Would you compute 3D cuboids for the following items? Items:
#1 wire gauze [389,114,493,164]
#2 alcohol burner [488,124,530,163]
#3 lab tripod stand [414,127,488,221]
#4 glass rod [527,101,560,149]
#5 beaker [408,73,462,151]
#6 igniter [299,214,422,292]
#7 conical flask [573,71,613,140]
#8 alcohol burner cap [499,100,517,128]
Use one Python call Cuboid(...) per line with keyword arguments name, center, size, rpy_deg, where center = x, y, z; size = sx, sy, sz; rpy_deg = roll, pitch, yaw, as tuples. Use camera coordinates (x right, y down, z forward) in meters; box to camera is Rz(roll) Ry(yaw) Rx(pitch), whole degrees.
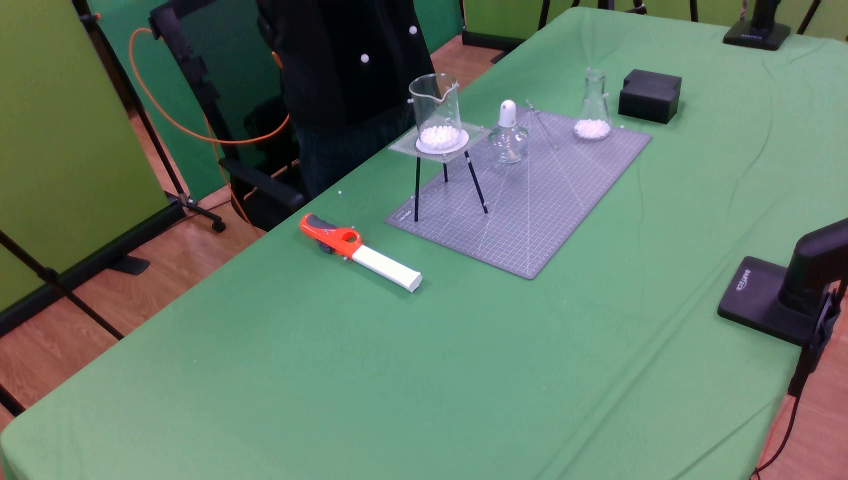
Cuboid(name="wire gauze", center=(0.027, -0.163, 0.978), size=(0.120, 0.011, 0.125), rpy_deg=(22, 50, 36))
Cuboid(name="alcohol burner", center=(0.157, -0.204, 1.119), size=(0.078, 0.119, 0.077), rpy_deg=(-5, 38, 4))
Cuboid(name="lab tripod stand", center=(0.035, -0.114, 1.021), size=(0.148, 0.132, 0.147), rpy_deg=(-7, 39, 6))
Cuboid(name="glass rod", center=(0.240, -0.237, 1.223), size=(0.008, 0.008, 0.198), rpy_deg=(-12, 40, -2))
Cuboid(name="beaker", center=(0.021, -0.196, 0.943), size=(0.074, 0.101, 0.083), rpy_deg=(-17, 39, -7))
Cuboid(name="igniter", center=(-0.113, 0.016, 0.983), size=(0.274, 0.025, 0.057), rpy_deg=(26, 62, 35))
Cuboid(name="conical flask", center=(0.321, -0.256, 1.142), size=(0.075, 0.122, 0.075), rpy_deg=(-5, 40, 5))
Cuboid(name="alcohol burner cap", center=(0.154, -0.230, 1.095), size=(0.034, 0.048, 0.033), rpy_deg=(-2, 45, 2))
